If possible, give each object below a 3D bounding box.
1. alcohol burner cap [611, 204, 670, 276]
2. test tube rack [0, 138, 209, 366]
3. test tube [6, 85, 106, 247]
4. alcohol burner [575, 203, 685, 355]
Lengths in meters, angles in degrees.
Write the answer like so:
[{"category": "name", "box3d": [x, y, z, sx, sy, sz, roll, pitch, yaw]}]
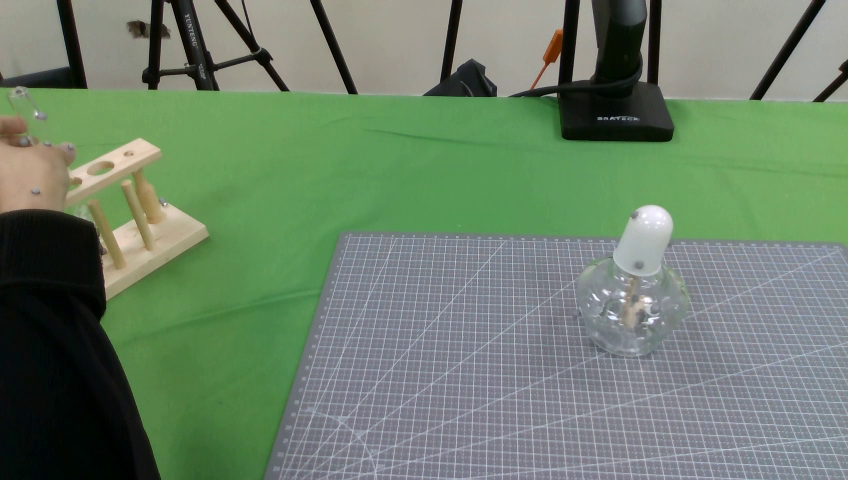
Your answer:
[{"category": "alcohol burner cap", "box3d": [0.147, -0.002, 0.406, 0.034, 0.048, 0.033, 2, 42, -2]}, {"category": "test tube rack", "box3d": [-0.306, 0.014, 0.494, 0.066, 0.086, 0.242, 27, 49, 29]}, {"category": "test tube", "box3d": [-0.296, -0.054, 0.495, 0.017, 0.151, 0.017, -4, 39, 3]}, {"category": "alcohol burner", "box3d": [0.148, 0.025, 0.430, 0.078, 0.120, 0.077, -2, 39, 2]}]
